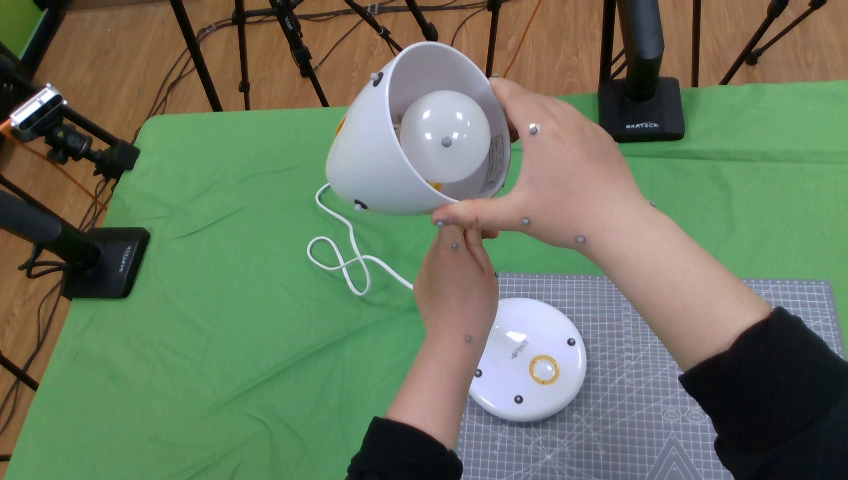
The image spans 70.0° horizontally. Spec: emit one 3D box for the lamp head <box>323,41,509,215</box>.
[{"bbox_3d":[-0.014,-0.064,0.439,0.122,0.113,0.111,-23,46,52],"label":"lamp head"}]

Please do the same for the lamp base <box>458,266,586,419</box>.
[{"bbox_3d":[0.097,0.103,0.704,0.178,0.182,0.160,25,69,26],"label":"lamp base"}]

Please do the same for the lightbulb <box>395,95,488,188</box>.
[{"bbox_3d":[-0.002,-0.058,0.416,0.107,0.060,0.059,-25,46,49],"label":"lightbulb"}]
